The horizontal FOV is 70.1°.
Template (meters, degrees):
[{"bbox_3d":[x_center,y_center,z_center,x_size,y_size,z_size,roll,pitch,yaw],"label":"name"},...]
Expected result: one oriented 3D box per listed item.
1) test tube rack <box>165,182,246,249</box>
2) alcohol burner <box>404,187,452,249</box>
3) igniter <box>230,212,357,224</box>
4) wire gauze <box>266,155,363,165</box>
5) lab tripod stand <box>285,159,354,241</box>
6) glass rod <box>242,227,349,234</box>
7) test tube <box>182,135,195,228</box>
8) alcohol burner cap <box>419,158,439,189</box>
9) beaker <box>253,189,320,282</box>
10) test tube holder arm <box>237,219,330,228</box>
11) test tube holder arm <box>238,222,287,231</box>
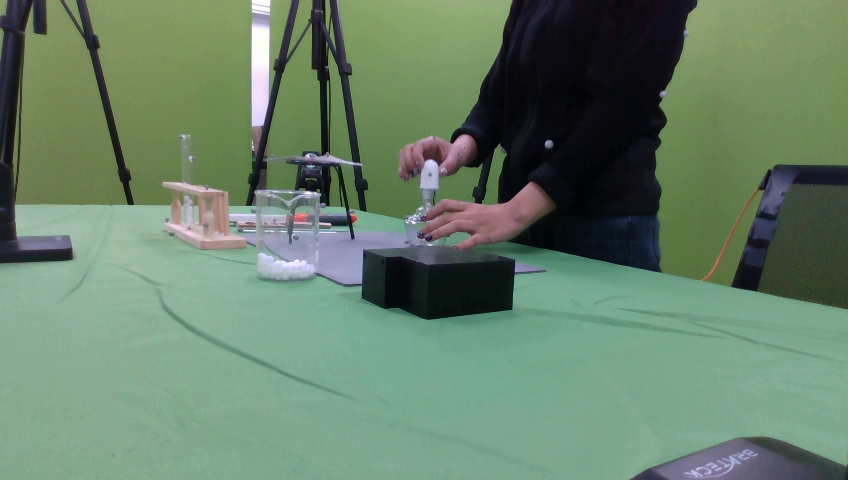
[{"bbox_3d":[-0.360,-0.045,0.982,0.067,0.085,0.241,-3,9,-34],"label":"test tube rack"},{"bbox_3d":[0.007,-0.045,0.971,0.078,0.119,0.078,1,9,0],"label":"alcohol burner"},{"bbox_3d":[-0.271,-0.044,1.232,0.278,0.025,0.057,-2,-2,-27],"label":"igniter"},{"bbox_3d":[-0.185,-0.136,1.016,0.126,0.011,0.121,-4,11,-33],"label":"wire gauze"},{"bbox_3d":[-0.187,-0.068,1.013,0.148,0.131,0.148,4,9,0],"label":"lab tripod stand"},{"bbox_3d":[-0.232,-0.017,1.110,0.201,0.008,0.008,2,6,-29],"label":"glass rod"},{"bbox_3d":[-0.382,-0.095,0.983,0.017,0.150,0.017,-1,2,0],"label":"test tube"},{"bbox_3d":[0.009,-0.106,0.960,0.034,0.048,0.034,2,8,0],"label":"alcohol burner cap"},{"bbox_3d":[-0.156,-0.005,0.689,0.074,0.100,0.083,0,8,-14],"label":"beaker"},{"bbox_3d":[-0.261,-0.030,1.142,0.179,0.015,0.013,-4,47,-34],"label":"test tube holder arm"},{"bbox_3d":[-0.297,-0.024,1.114,0.088,0.015,0.010,-2,46,-33],"label":"test tube holder arm"}]
